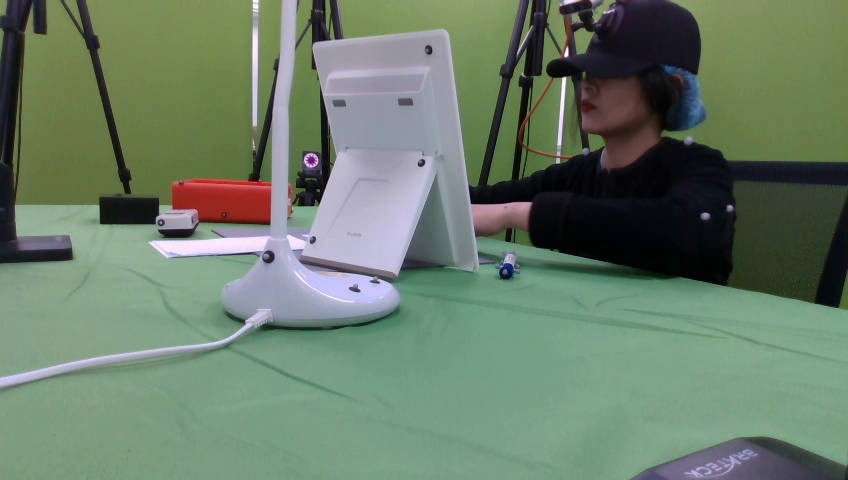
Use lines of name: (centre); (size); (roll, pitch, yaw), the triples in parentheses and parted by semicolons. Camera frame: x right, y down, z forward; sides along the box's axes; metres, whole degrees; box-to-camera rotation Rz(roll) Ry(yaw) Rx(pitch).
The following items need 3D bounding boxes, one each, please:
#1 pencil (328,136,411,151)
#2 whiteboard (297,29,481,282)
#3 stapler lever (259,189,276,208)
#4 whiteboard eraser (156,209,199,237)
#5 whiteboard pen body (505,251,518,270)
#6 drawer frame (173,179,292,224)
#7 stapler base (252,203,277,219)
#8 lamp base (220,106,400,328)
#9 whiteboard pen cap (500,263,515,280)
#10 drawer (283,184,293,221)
pencil: (-0.089, -0.165, 1.030); (0.012, 0.012, 0.195); (9, 7, 40)
whiteboard: (-0.076, -0.082, 0.741); (0.216, 0.305, 0.144); (9, 29, 37)
stapler lever: (-0.335, -0.090, 1.300); (0.027, 0.040, 0.118); (15, 4, -10)
whiteboard eraser: (-0.411, -0.029, 1.016); (0.056, 0.042, 0.112); (2, 7, -16)
whiteboard pen body: (0.117, 0.031, 0.815); (0.017, 0.017, 0.141); (4, 8, 10)
drawer frame: (-0.400, -0.086, 1.300); (0.214, 0.082, 0.201); (1, 8, -8)
stapler base: (-0.341, -0.065, 1.301); (0.041, 0.024, 0.130); (15, 5, -10)
lamp base: (-0.101, -0.023, 0.531); (0.160, 0.180, 0.179); (4, 10, 10)
whiteboard pen cap: (0.105, 0.038, 0.758); (0.018, 0.018, 0.033); (4, 10, 10)
drawer: (-0.396, -0.085, 1.301); (0.212, 0.073, 0.194); (1, 8, -7)
